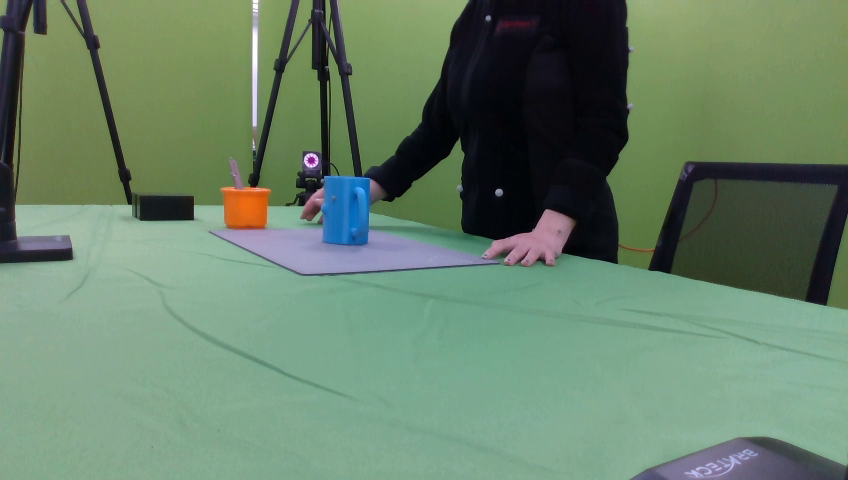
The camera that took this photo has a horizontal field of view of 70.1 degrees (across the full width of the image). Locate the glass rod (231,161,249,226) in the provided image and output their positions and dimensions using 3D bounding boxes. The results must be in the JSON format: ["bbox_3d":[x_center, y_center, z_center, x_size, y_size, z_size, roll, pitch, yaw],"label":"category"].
[{"bbox_3d":[-0.355,-0.093,1.162,0.008,0.008,0.199,-1,43,-27],"label":"glass rod"}]

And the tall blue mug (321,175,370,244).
[{"bbox_3d":[-0.116,-0.049,0.991,0.106,0.108,0.078,7,8,33],"label":"tall blue mug"}]
